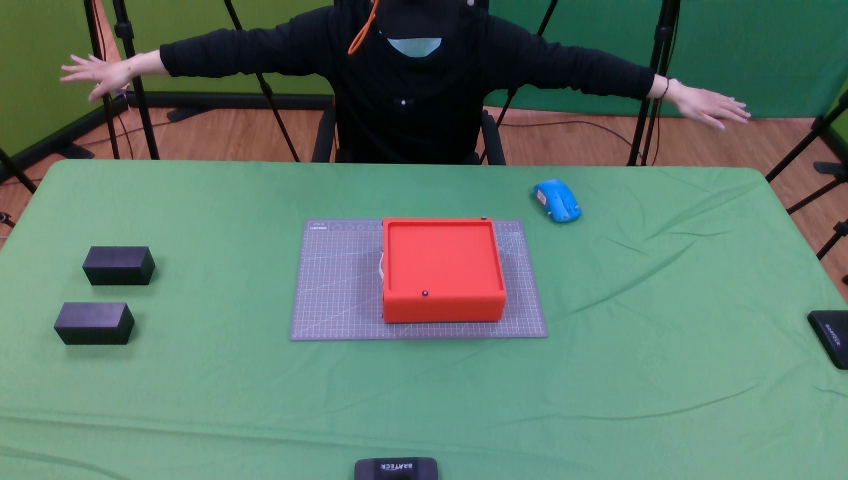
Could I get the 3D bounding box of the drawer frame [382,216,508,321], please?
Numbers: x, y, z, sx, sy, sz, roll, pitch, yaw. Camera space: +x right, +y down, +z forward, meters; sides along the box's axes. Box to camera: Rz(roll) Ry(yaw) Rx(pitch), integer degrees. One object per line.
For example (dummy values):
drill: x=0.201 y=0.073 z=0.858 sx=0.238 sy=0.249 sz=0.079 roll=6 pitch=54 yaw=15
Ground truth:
drawer frame: x=0.029 y=0.049 z=1.102 sx=0.214 sy=0.083 sz=0.200 roll=0 pitch=46 yaw=-5

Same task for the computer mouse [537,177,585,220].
computer mouse: x=0.291 y=-0.093 z=1.288 sx=0.063 sy=0.041 sz=0.116 roll=-13 pitch=53 yaw=-18

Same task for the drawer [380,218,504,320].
drawer: x=0.026 y=0.049 z=1.103 sx=0.212 sy=0.073 sz=0.193 roll=0 pitch=46 yaw=-4
